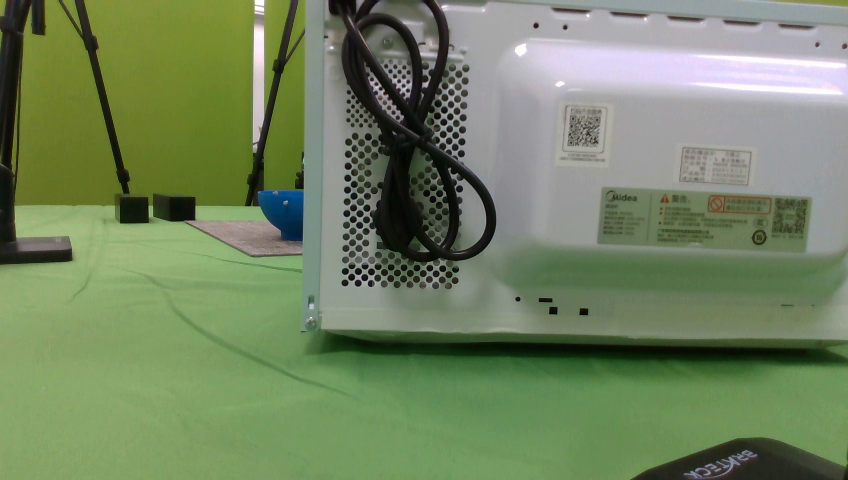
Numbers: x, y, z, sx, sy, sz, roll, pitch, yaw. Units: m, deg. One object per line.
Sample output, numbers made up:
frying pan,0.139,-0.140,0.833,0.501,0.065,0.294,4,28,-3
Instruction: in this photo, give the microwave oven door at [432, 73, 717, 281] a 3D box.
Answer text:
microwave oven door,0.178,-0.089,0.792,0.354,0.243,0.039,6,7,29

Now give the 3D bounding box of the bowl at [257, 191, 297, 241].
bowl,-0.206,-0.041,1.027,0.151,0.077,0.151,3,8,0

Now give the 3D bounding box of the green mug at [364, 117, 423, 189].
green mug,-0.048,-0.136,0.974,0.093,0.105,0.125,3,1,-5

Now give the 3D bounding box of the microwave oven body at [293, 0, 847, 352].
microwave oven body,0.122,-0.055,0.550,0.442,0.260,0.325,3,7,-5

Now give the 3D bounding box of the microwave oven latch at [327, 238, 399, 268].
microwave oven latch,-0.069,0.015,0.694,0.079,0.029,0.030,3,7,-3
